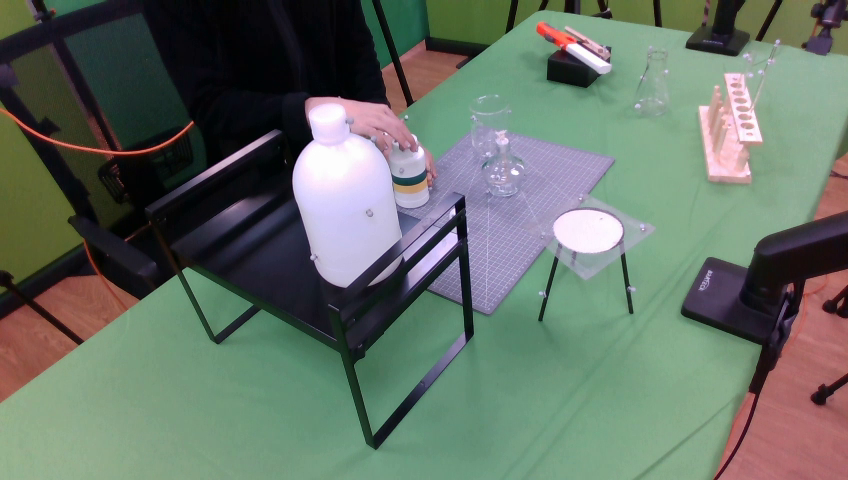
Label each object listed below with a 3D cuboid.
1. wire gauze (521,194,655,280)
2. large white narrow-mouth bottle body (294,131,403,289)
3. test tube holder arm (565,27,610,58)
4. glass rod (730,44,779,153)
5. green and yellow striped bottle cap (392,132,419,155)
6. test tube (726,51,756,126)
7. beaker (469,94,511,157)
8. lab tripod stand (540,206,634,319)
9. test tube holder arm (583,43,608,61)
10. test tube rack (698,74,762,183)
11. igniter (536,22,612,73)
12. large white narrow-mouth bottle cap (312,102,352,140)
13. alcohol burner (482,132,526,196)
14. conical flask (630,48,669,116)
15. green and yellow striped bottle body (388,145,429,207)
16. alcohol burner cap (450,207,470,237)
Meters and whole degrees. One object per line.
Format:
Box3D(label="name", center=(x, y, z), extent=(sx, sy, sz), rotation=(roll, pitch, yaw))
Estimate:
Box3D(label="wire gauze", center=(0.207, -0.012, 0.772), extent=(0.122, 0.011, 0.124), rotation=(-28, 44, -20))
Box3D(label="large white narrow-mouth bottle body", center=(-0.082, -0.047, 0.634), extent=(0.102, 0.195, 0.101), rotation=(-4, 39, 4))
Box3D(label="test tube holder arm", center=(0.369, -0.450, 1.373), extent=(0.013, 0.015, 0.177), rotation=(-39, 41, 10))
Box3D(label="glass rod", center=(0.555, -0.233, 1.020), extent=(0.008, 0.200, 0.008), rotation=(2, 39, -1))
Box3D(label="green and yellow striped bottle cap", center=(-0.031, -0.161, 1.007), extent=(0.045, 0.020, 0.045), rotation=(-5, 39, 4))
Box3D(label="test tube", center=(0.568, -0.268, 1.086), extent=(0.017, 0.151, 0.017), rotation=(-4, 46, 4))
Box3D(label="beaker", center=(0.124, -0.216, 1.148), extent=(0.074, 0.101, 0.083), rotation=(-21, 42, -16))
Box3D(label="lab tripod stand", center=(0.218, 0.034, 0.821), extent=(0.148, 0.132, 0.147), rotation=(-4, 42, 4))
Box3D(label="test tube holder arm", center=(0.379, -0.420, 1.341), extent=(0.010, 0.015, 0.087), rotation=(-39, 41, 10))
Box3D(label="test tube rack", center=(0.547, -0.208, 1.095), extent=(0.066, 0.085, 0.242), rotation=(5, 42, 15))
Box3D(label="igniter", center=(0.330, -0.439, 1.366), extent=(0.057, 0.025, 0.274), rotation=(-12, 41, -20))
Box3D(label="large white narrow-mouth bottle cap", center=(-0.089, -0.114, 0.579), extent=(0.038, 0.024, 0.037), rotation=(-3, 39, 3))
Box3D(label="alcohol burner", center=(0.137, -0.136, 1.042), extent=(0.078, 0.119, 0.077), rotation=(-4, 43, 4))
Box3D(label="conical flask", center=(0.456, -0.317, 1.205), extent=(0.075, 0.122, 0.075), rotation=(-4, 41, 4))
Box3D(label="green and yellow striped bottle body", center=(-0.027, -0.121, 1.042), extent=(0.063, 0.120, 0.063), rotation=(-4, 41, 4))
Box3D(label="alcohol burner cap", center=(0.057, -0.032, 0.987), extent=(0.034, 0.048, 0.033), rotation=(-4, 41, 4))
